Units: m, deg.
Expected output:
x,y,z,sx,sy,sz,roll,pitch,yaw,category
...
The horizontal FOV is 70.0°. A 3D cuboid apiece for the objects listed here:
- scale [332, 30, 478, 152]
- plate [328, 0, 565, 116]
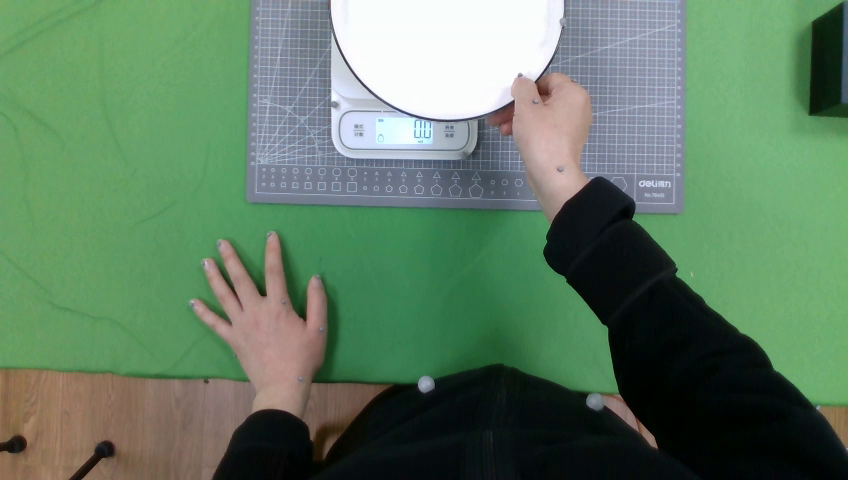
x,y,z,sx,sy,sz,roll,pitch,yaw,category
-0.018,-0.191,0.611,0.149,0.031,0.200,1,90,0,scale
0.020,-0.211,0.545,0.209,0.038,0.209,0,88,-2,plate
